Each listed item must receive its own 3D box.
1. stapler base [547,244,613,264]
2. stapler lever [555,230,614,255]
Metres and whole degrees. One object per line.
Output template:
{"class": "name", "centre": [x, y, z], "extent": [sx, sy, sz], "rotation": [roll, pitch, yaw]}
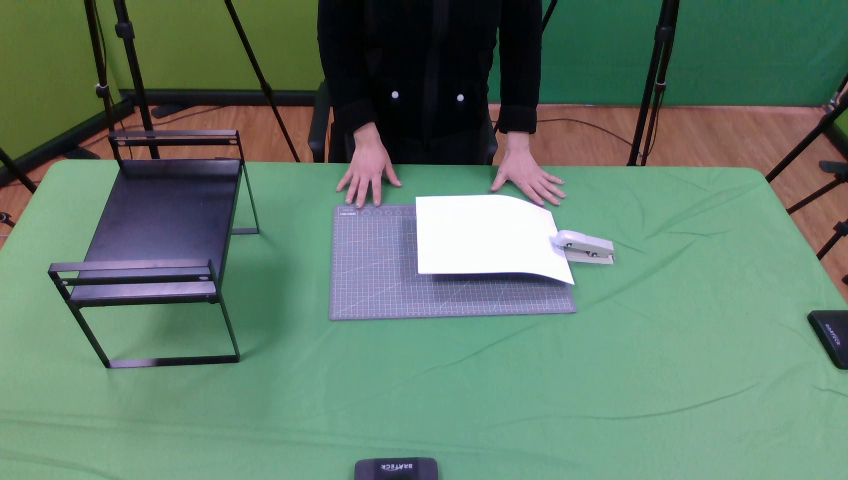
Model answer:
{"class": "stapler base", "centre": [0.311, 0.022, 1.198], "extent": [0.130, 0.024, 0.041], "rotation": [5, 46, -3]}
{"class": "stapler lever", "centre": [0.315, 0.004, 1.181], "extent": [0.118, 0.040, 0.026], "rotation": [5, 46, -2]}
